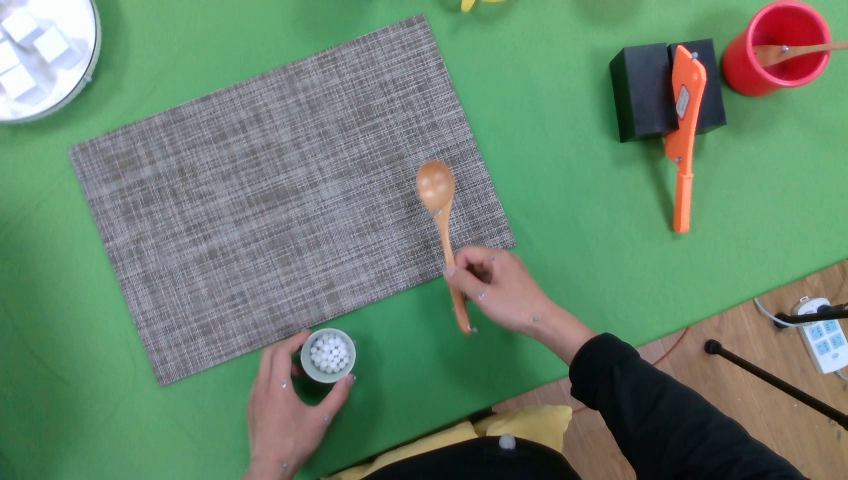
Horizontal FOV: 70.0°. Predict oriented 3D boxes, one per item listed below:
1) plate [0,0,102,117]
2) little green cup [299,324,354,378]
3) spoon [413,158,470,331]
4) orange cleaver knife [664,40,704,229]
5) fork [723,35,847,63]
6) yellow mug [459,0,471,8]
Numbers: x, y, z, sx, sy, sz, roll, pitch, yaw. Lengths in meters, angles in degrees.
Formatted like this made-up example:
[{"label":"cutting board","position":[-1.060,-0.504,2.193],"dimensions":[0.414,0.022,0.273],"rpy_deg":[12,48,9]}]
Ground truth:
[{"label":"plate","position":[-0.472,-0.241,0.694],"dimensions":[0.208,0.039,0.207],"rpy_deg":[0,88,-2]},{"label":"little green cup","position":[-0.110,0.126,0.699],"dimensions":[0.061,0.038,0.061],"rpy_deg":[0,88,1]},{"label":"spoon","position":[0.022,0.004,0.662],"dimensions":[0.041,0.022,0.193],"rpy_deg":[-12,80,7]},{"label":"orange cleaver knife","position":[0.292,-0.116,0.696],"dimensions":[0.012,0.076,0.213],"rpy_deg":[-7,118,0]},{"label":"fork","position":[0.444,-0.218,0.672],"dimensions":[0.206,0.019,0.028],"rpy_deg":[6,85,40]},{"label":"yellow mug","position":[0.073,-0.330,0.701],"dimensions":[0.100,0.064,0.131],"rpy_deg":[27,89,-1]}]
